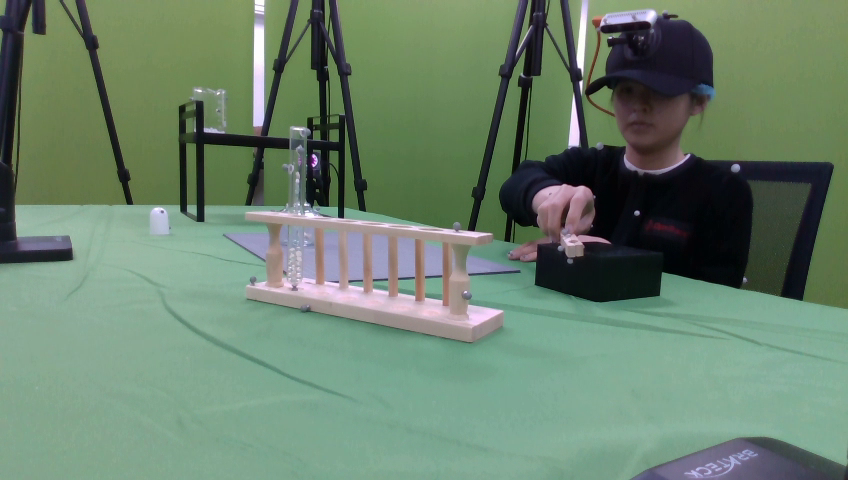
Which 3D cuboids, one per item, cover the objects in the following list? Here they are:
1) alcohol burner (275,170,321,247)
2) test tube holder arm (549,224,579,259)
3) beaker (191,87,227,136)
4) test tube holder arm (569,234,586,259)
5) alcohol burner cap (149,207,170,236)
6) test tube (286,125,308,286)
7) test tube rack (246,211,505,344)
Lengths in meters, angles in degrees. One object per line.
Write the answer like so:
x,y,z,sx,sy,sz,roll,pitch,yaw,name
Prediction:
-0.199,-0.050,0.948,0.078,0.119,0.078,1,7,0,alcohol burner
0.164,-0.001,0.714,0.013,0.015,0.178,5,10,2,test tube holder arm
-0.476,-0.284,1.345,0.074,0.100,0.083,-3,10,-37,beaker
0.166,0.006,0.669,0.010,0.015,0.088,6,10,3,test tube holder arm
-0.445,-0.032,1.019,0.034,0.048,0.034,4,9,0,alcohol burner cap
-0.118,-0.030,0.558,0.017,0.150,0.017,4,12,-1,test tube
-0.049,0.025,0.547,0.241,0.085,0.067,7,8,29,test tube rack
